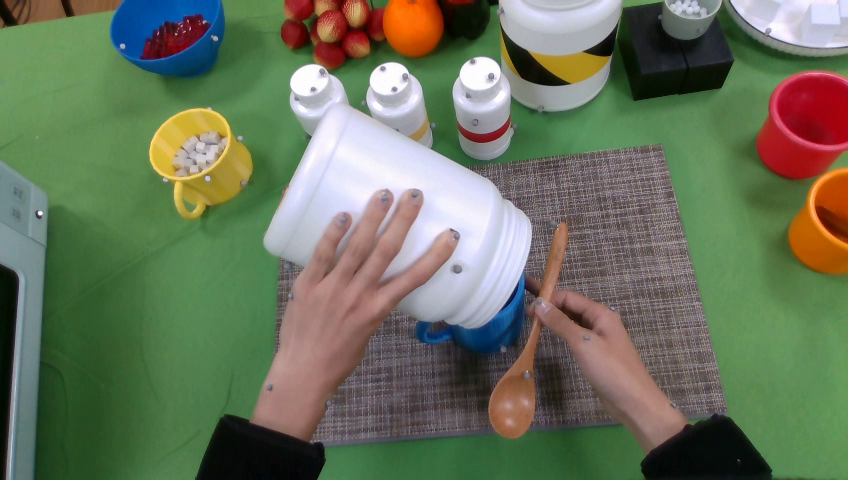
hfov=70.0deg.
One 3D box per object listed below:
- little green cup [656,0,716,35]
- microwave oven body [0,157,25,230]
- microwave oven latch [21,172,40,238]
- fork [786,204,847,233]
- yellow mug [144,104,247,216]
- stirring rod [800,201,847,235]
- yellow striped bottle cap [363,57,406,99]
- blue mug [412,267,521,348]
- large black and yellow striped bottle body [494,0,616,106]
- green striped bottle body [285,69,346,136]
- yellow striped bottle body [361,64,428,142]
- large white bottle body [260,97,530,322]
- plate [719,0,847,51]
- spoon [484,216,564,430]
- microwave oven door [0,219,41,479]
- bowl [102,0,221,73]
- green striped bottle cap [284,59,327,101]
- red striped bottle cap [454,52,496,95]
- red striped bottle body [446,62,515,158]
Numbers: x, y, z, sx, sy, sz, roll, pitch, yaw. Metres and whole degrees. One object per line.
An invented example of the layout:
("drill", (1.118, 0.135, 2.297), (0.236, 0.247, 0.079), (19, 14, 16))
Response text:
("little green cup", (0.293, -0.264, 0.682), (0.061, 0.039, 0.061), (-2, 64, 5))
("microwave oven body", (-0.601, 0.115, 0.572), (0.326, 0.262, 0.438), (-15, 66, 1))
("microwave oven latch", (-0.483, -0.039, 0.729), (0.030, 0.030, 0.078), (-13, 66, 2))
("fork", (0.428, -0.007, 0.547), (0.028, 0.019, 0.205), (-42, 24, -10))
("yellow mug", (-0.276, -0.091, 0.727), (0.100, 0.064, 0.130), (3, 68, 9))
("stirring rod", (0.398, -0.005, 0.558), (0.014, 0.006, 0.175), (-4, 23, 4))
("yellow striped bottle cap", (-0.042, -0.172, 0.642), (0.044, 0.019, 0.044), (-1, 63, 3))
("blue mug", (0.039, 0.061, 0.591), (0.116, 0.107, 0.081), (-31, 65, -6))
("large black and yellow striped bottle body", (0.143, -0.253, 0.674), (0.130, 0.185, 0.130), (-3, 66, 7))
("green striped bottle body", (-0.120, -0.152, 0.702), (0.063, 0.120, 0.062), (-3, 66, 7))
("yellow striped bottle body", (-0.034, -0.152, 0.690), (0.063, 0.121, 0.062), (-3, 66, 8))
("large white bottle body", (-0.021, -0.017, 0.486), (0.185, 0.130, 0.130), (25, 69, -15))
("plate", (0.459, -0.309, 0.734), (0.209, 0.038, 0.207), (-3, 67, 7))
("spoon", (0.094, 0.073, 0.532), (0.041, 0.021, 0.194), (16, 94, 2))
("microwave oven door", (-0.451, 0.114, 0.547), (0.039, 0.246, 0.352), (-15, 65, 2))
("bowl", (-0.335, -0.279, 0.810), (0.151, 0.077, 0.150), (-3, 66, 6))
("green striped bottle cap", (-0.128, -0.173, 0.655), (0.044, 0.020, 0.044), (-2, 65, 5))
("red striped bottle cap", (0.053, -0.174, 0.630), (0.044, 0.018, 0.044), (-1, 65, 3))
("red striped bottle body", (0.062, -0.151, 0.677), (0.063, 0.121, 0.062), (-8, 60, 14))
